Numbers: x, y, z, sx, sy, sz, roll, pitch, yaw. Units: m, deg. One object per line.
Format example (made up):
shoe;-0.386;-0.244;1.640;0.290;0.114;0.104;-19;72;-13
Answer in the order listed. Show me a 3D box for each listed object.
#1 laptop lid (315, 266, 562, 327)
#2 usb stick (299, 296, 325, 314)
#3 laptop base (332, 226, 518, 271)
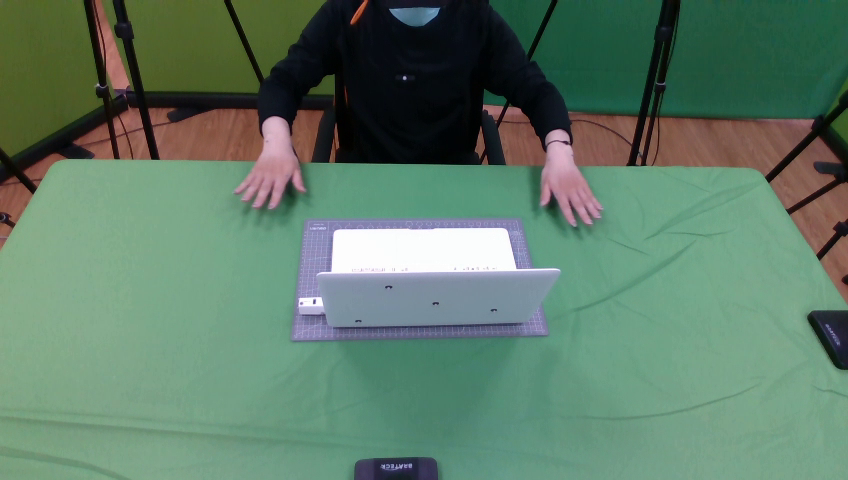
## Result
laptop lid;0.018;0.094;0.949;0.357;0.242;0.013;0;64;-6
usb stick;-0.187;0.114;1.057;0.059;0.027;0.021;2;45;-5
laptop base;0.004;0.062;1.136;0.355;0.023;0.234;-1;43;-4
